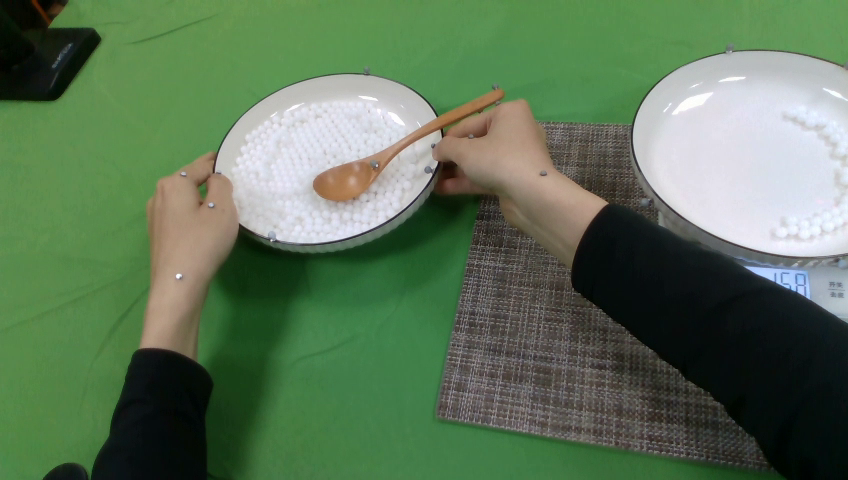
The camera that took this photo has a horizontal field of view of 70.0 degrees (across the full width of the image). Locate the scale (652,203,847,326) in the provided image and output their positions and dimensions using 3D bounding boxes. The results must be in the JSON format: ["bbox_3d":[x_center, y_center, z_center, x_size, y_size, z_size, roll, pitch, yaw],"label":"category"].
[{"bbox_3d":[0.260,-0.032,0.482,0.148,0.032,0.199,5,58,13],"label":"scale"}]

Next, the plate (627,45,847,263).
[{"bbox_3d":[0.263,-0.067,0.465,0.207,0.039,0.205,-4,57,7],"label":"plate"}]

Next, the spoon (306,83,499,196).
[{"bbox_3d":[-0.015,-0.091,0.533,0.194,0.022,0.041,-31,57,-5],"label":"spoon"}]

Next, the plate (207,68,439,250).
[{"bbox_3d":[-0.089,-0.074,0.551,0.209,0.038,0.207,-3,56,4],"label":"plate"}]
